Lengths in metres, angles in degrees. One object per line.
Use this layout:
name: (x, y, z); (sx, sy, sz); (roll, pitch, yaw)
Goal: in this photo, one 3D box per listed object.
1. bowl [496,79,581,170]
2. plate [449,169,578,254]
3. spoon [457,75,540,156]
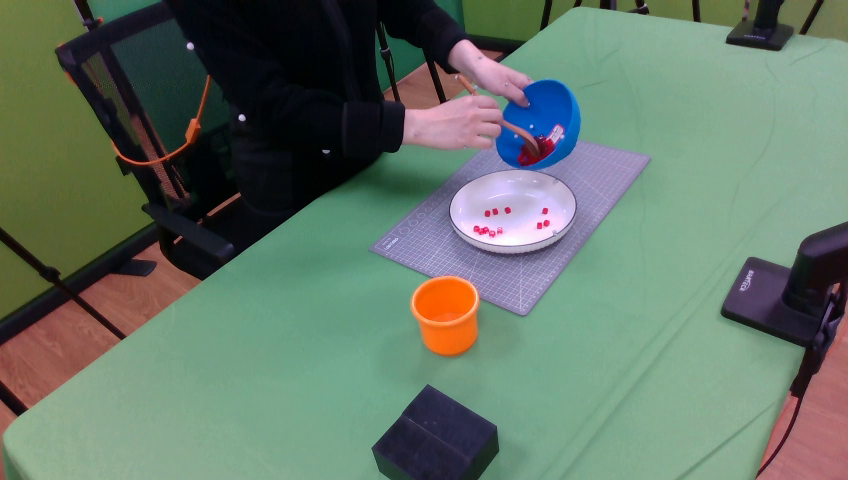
bowl: (0.200, -0.176, 0.985); (0.150, 0.077, 0.151); (-19, 61, 41)
plate: (0.146, -0.044, 0.993); (0.209, 0.038, 0.208); (-5, 40, 5)
spoon: (0.118, -0.190, 0.934); (0.021, 0.195, 0.041); (-52, 31, 11)
